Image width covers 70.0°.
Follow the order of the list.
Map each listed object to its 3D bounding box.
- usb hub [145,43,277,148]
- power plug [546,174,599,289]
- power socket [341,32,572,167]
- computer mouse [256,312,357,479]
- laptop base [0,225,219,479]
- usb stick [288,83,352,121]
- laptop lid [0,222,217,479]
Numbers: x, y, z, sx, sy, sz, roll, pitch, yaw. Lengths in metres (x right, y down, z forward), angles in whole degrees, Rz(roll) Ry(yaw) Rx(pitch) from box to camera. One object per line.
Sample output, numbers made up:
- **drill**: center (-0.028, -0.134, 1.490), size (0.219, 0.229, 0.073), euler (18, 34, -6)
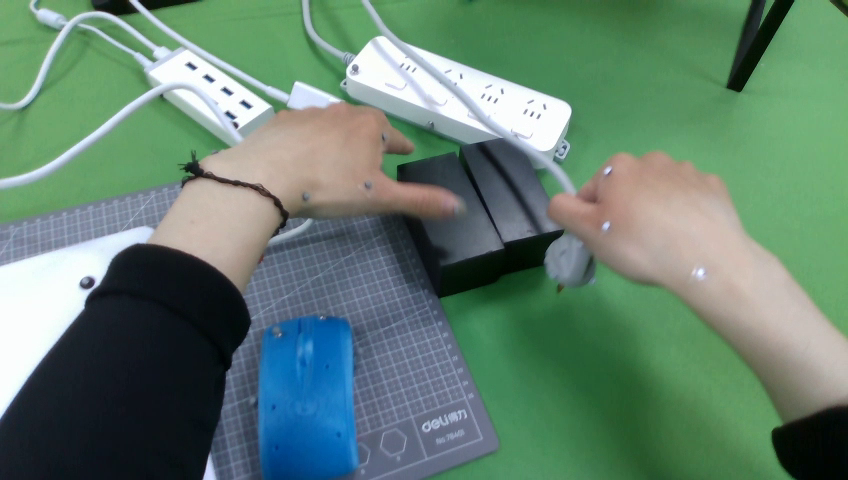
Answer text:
- **usb hub**: center (-0.198, -0.136, 0.561), size (0.124, 0.025, 0.049), euler (35, 62, 19)
- **power plug**: center (0.107, -0.002, 0.425), size (0.035, 0.053, 0.072), euler (20, 53, 3)
- **power socket**: center (0.031, -0.134, 0.568), size (0.226, 0.033, 0.072), euler (24, 59, 12)
- **computer mouse**: center (-0.078, 0.098, 0.405), size (0.063, 0.041, 0.116), euler (-6, 53, -4)
- **laptop base**: center (-0.326, 0.134, 0.384), size (0.355, 0.023, 0.233), euler (-18, 63, -14)
- **usb stick**: center (-0.094, -0.125, 0.559), size (0.059, 0.027, 0.021), euler (14, 13, -11)
- **laptop lid**: center (-0.325, 0.129, 0.373), size (0.357, 0.013, 0.239), euler (-17, 62, -13)
